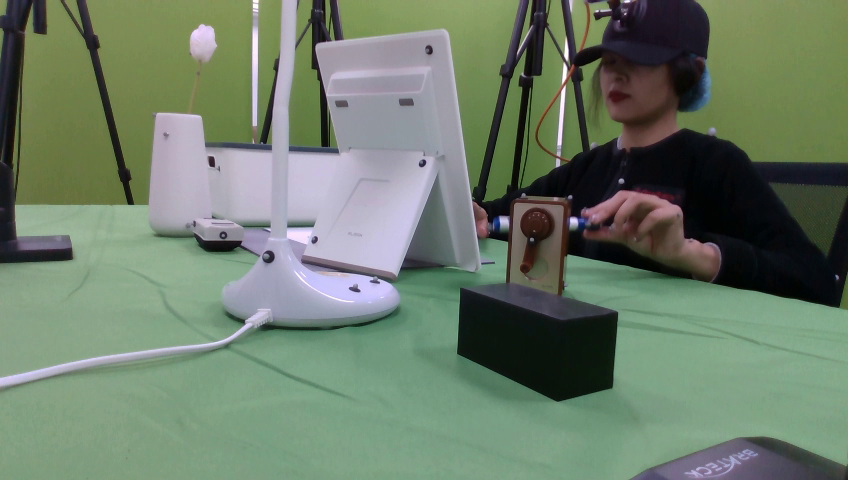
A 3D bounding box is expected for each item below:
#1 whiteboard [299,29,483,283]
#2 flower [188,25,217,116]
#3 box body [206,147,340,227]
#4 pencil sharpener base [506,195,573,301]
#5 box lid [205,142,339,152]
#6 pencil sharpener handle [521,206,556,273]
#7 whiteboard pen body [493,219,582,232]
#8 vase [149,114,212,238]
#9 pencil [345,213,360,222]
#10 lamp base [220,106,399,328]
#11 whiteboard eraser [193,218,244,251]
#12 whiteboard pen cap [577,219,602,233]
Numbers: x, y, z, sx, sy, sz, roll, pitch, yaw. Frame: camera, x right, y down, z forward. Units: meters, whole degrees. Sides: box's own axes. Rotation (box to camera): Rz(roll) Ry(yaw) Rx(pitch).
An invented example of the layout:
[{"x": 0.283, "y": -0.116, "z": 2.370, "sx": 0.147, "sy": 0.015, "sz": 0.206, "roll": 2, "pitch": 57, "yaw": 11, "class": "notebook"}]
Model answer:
[{"x": -0.074, "y": -0.082, "z": 0.742, "sx": 0.216, "sy": 0.305, "sz": 0.144, "roll": 9, "pitch": 29, "yaw": 38, "class": "whiteboard"}, {"x": -0.394, "y": -0.189, "z": 1.011, "sx": 0.044, "sy": 0.361, "sz": 0.038, "roll": -1, "pitch": -13, "yaw": 28, "class": "flower"}, {"x": -0.276, "y": -0.122, "z": 1.320, "sx": 0.366, "sy": 0.160, "sz": 0.253, "roll": -2, "pitch": 9, "yaw": -30, "class": "box body"}, {"x": 0.127, "y": 0.007, "z": 0.663, "sx": 0.061, "sy": 0.107, "sz": 0.077, "roll": 5, "pitch": 8, "yaw": 15, "class": "pencil sharpener base"}, {"x": -0.270, "y": -0.196, "z": 1.311, "sx": 0.373, "sy": 0.015, "sz": 0.262, "roll": -2, "pitch": 9, "yaw": -30, "class": "box lid"}, {"x": 0.111, "y": 0.000, "z": 0.613, "sx": 0.036, "sy": 0.067, "sz": 0.031, "roll": 13, "pitch": 10, "yaw": 14, "class": "pencil sharpener handle"}, {"x": 0.158, "y": -0.019, "z": 0.786, "sx": 0.141, "sy": 0.017, "sz": 0.017, "roll": -1, "pitch": 8, "yaw": -14, "class": "whiteboard pen body"}, {"x": -0.405, "y": -0.106, "z": 1.005, "sx": 0.098, "sy": 0.200, "sz": 0.098, "roll": 2, "pitch": 6, "yaw": 0, "class": "vase"}, {"x": -0.159, "y": -0.052, "z": 1.365, "sx": 0.012, "sy": 0.012, "sz": 0.194, "roll": 3, "pitch": 6, "yaw": 1, "class": "pencil"}, {"x": -0.102, "y": -0.023, "z": 0.531, "sx": 0.160, "sy": 0.180, "sz": 0.179, "roll": 4, "pitch": 10, "yaw": 10, "class": "lamp base"}, {"x": -0.307, "y": -0.009, "z": 0.900, "sx": 0.056, "sy": 0.042, "sz": 0.112, "roll": -4, "pitch": 11, "yaw": -28, "class": "whiteboard eraser"}, {"x": 0.216, "y": -0.018, "z": 0.800, "sx": 0.033, "sy": 0.018, "sz": 0.018, "roll": -9, "pitch": 9, "yaw": -10, "class": "whiteboard pen cap"}]
